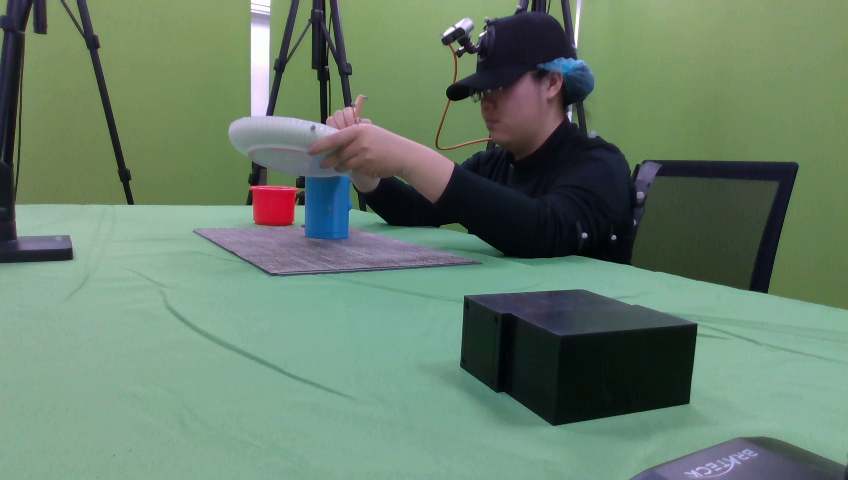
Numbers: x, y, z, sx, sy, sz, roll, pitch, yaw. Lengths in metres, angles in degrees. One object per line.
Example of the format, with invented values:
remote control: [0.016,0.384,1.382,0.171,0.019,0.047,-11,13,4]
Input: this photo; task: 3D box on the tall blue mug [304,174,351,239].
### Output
tall blue mug: [-0.178,-0.062,1.062,0.078,0.108,0.106,-5,10,-38]

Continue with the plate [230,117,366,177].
plate: [-0.195,-0.136,0.940,0.208,0.039,0.207,6,-9,1]

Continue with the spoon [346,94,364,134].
spoon: [-0.133,-0.192,1.058,0.041,0.022,0.193,0,48,14]
